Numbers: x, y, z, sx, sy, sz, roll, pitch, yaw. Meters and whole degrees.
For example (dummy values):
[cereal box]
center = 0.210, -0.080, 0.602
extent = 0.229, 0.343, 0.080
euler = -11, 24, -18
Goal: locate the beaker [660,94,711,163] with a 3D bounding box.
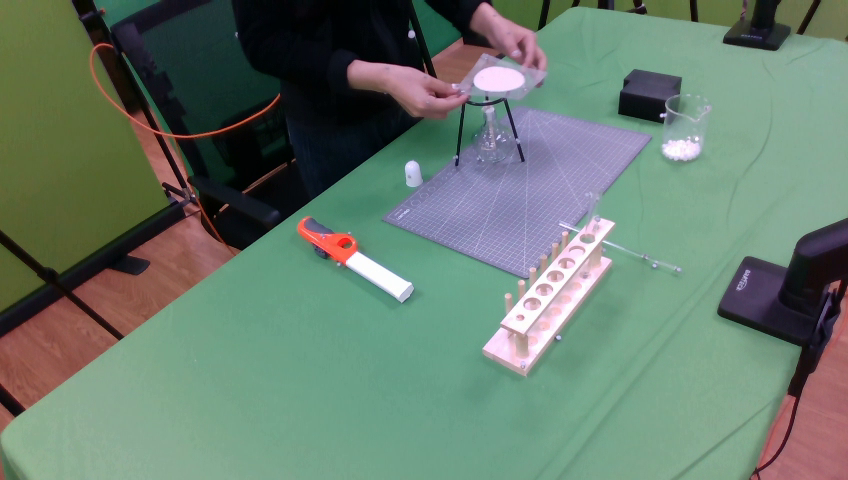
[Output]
[beaker]
center = 0.457, -0.192, 1.063
extent = 0.074, 0.101, 0.083
euler = -7, 41, 4

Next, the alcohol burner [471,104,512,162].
[alcohol burner]
center = 0.125, -0.207, 1.126
extent = 0.078, 0.119, 0.077
euler = -5, 43, 5

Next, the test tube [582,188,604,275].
[test tube]
center = 0.229, -0.007, 0.821
extent = 0.017, 0.151, 0.017
euler = -3, 42, 3

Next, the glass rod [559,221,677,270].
[glass rod]
center = 0.292, 0.007, 0.927
extent = 0.198, 0.008, 0.008
euler = 26, 52, 36

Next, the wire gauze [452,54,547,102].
[wire gauze]
center = 0.128, -0.272, 1.016
extent = 0.121, 0.011, 0.125
euler = 20, 49, 22

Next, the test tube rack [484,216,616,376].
[test tube rack]
center = 0.174, 0.064, 0.823
extent = 0.066, 0.085, 0.243
euler = 23, 49, 33

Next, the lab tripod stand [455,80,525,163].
[lab tripod stand]
center = 0.121, -0.219, 1.126
extent = 0.148, 0.132, 0.147
euler = -4, 40, 4

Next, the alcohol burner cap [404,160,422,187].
[alcohol burner cap]
center = -0.022, -0.125, 1.118
extent = 0.034, 0.048, 0.033
euler = -5, 40, 5

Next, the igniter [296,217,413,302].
[igniter]
center = -0.121, 0.025, 0.970
extent = 0.274, 0.025, 0.057
euler = 29, 63, 37
